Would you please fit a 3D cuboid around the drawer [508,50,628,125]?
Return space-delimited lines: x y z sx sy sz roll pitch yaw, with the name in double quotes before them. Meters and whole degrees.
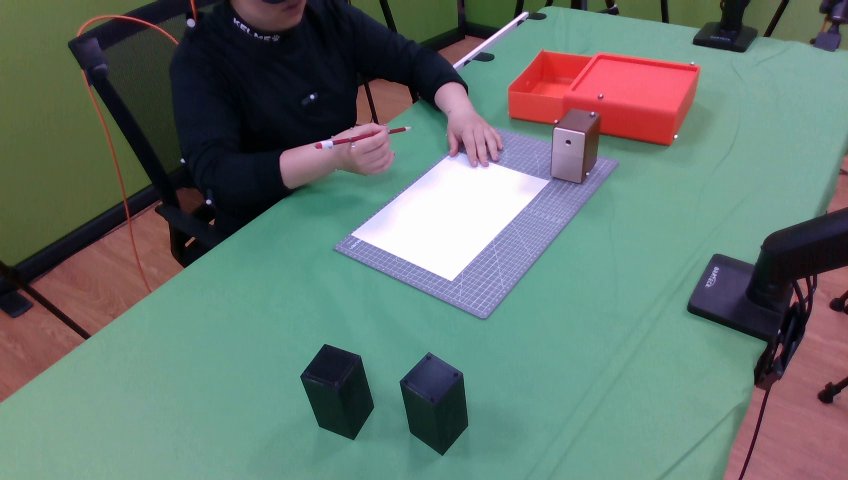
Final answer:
"drawer" 0.305 -0.310 1.246 0.210 0.073 0.195 16 45 25

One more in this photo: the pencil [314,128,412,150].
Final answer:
"pencil" -0.099 -0.174 1.028 0.195 0.012 0.012 -18 39 -34

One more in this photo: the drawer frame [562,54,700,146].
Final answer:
"drawer frame" 0.407 -0.282 1.195 0.212 0.083 0.202 17 45 25

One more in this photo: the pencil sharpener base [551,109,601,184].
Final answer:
"pencil sharpener base" 0.265 -0.163 1.053 0.061 0.107 0.077 17 46 27

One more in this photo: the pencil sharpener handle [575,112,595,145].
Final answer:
"pencil sharpener handle" 0.290 -0.203 1.077 0.036 0.068 0.031 20 47 25
